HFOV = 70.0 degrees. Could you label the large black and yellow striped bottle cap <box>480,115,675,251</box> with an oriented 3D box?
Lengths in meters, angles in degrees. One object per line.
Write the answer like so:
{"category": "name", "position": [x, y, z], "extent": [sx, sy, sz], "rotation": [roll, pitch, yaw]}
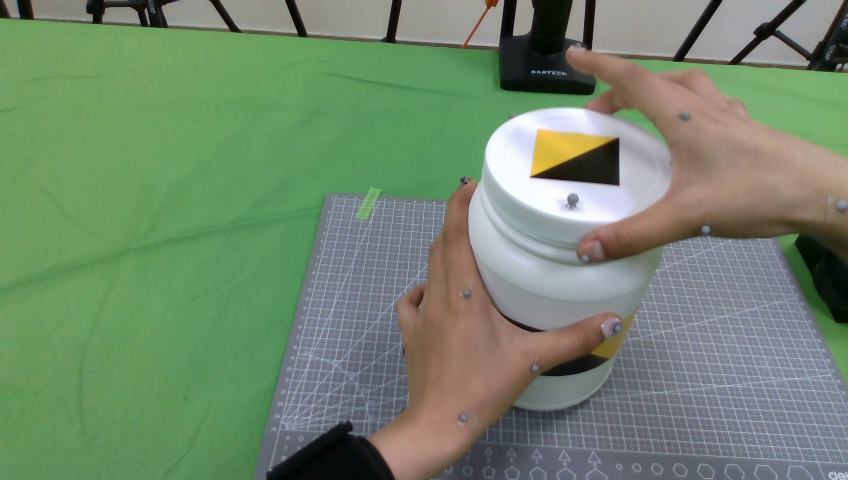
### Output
{"category": "large black and yellow striped bottle cap", "position": [0.091, -0.039, 0.366], "extent": [0.115, 0.019, 0.114], "rotation": [1, 43, 0]}

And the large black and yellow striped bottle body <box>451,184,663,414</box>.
{"category": "large black and yellow striped bottle body", "position": [0.089, 0.025, 0.433], "extent": [0.131, 0.185, 0.129], "rotation": [2, 46, -1]}
